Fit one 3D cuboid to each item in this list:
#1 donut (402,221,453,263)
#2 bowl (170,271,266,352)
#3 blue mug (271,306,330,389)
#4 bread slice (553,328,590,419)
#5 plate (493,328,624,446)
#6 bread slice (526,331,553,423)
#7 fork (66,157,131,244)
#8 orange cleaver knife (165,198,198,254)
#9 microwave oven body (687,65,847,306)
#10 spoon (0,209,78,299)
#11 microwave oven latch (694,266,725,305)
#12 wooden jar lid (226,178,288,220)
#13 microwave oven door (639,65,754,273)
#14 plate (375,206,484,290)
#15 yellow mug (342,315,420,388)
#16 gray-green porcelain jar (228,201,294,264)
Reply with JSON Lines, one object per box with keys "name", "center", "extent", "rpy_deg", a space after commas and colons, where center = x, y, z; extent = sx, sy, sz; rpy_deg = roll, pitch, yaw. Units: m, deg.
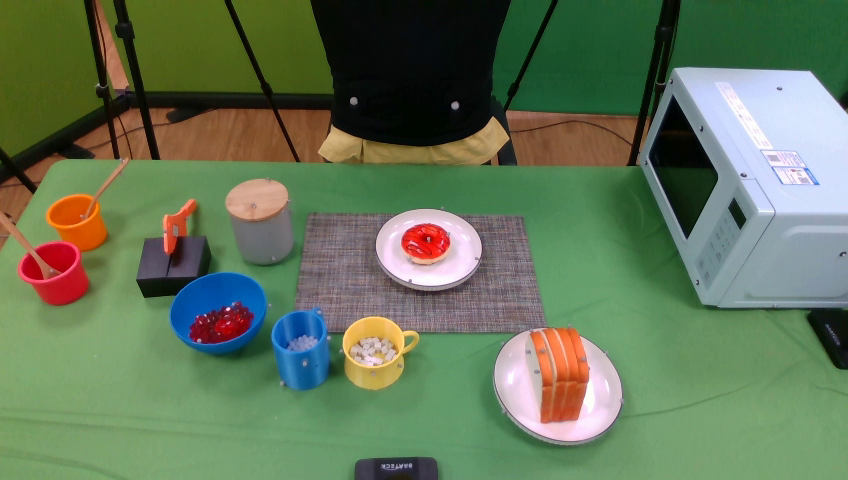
{"name": "donut", "center": [0.006, 0.002, 1.160], "extent": [0.099, 0.048, 0.098], "rpy_deg": [1, 44, 0]}
{"name": "bowl", "center": [-0.333, 0.132, 1.006], "extent": [0.151, 0.077, 0.150], "rpy_deg": [2, 46, -2]}
{"name": "blue mug", "center": [-0.188, 0.163, 0.969], "extent": [0.082, 0.106, 0.116], "rpy_deg": [15, 47, 10]}
{"name": "bread slice", "center": [0.226, 0.201, 0.932], "extent": [0.018, 0.135, 0.106], "rpy_deg": [-4, 50, -4]}
{"name": "plate", "center": [0.213, 0.236, 0.974], "extent": [0.208, 0.039, 0.206], "rpy_deg": [2, 46, -2]}
{"name": "bread slice", "center": [0.176, 0.202, 0.929], "extent": [0.019, 0.132, 0.104], "rpy_deg": [-9, 45, -1]}
{"name": "fork", "center": [-0.608, -0.074, 1.133], "extent": [0.207, 0.019, 0.028], "rpy_deg": [-52, 48, 10]}
{"name": "orange cleaver knife", "center": [-0.458, -0.031, 1.149], "extent": [0.012, 0.077, 0.210], "rpy_deg": [-1, 17, -6]}
{"name": "microwave oven body", "center": [0.669, -0.111, 1.176], "extent": [0.326, 0.261, 0.439], "rpy_deg": [0, 46, -3]}
{"name": "spoon", "center": [-0.668, 0.022, 1.040], "extent": [0.041, 0.021, 0.194], "rpy_deg": [-41, 105, -29]}
{"name": "microwave oven latch", "center": [0.523, 0.082, 1.115], "extent": [0.030, 0.029, 0.078], "rpy_deg": [3, 46, 0]}
{"name": "wooden jar lid", "center": [-0.296, -0.070, 1.081], "extent": [0.108, 0.021, 0.107], "rpy_deg": [1, 45, -1]}
{"name": "microwave oven door", "center": [0.522, -0.147, 1.193], "extent": [0.039, 0.245, 0.353], "rpy_deg": [0, 47, -3]}
{"name": "plate", "center": [0.009, 0.019, 1.160], "extent": [0.209, 0.038, 0.208], "rpy_deg": [2, 47, -2]}
{"name": "yellow mug", "center": [-0.068, 0.177, 0.991], "extent": [0.131, 0.064, 0.099], "rpy_deg": [-15, 50, -19]}
{"name": "gray-green porcelain jar", "center": [-0.300, -0.027, 1.126], "extent": [0.106, 0.127, 0.105], "rpy_deg": [2, 46, -2]}
